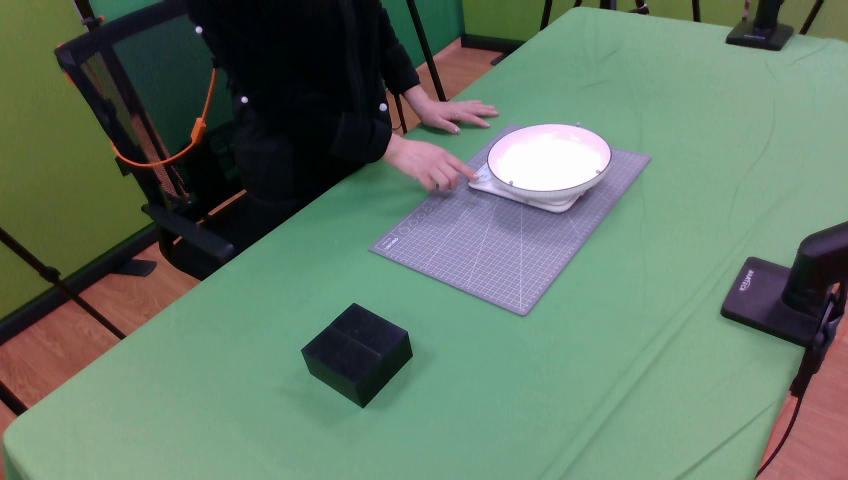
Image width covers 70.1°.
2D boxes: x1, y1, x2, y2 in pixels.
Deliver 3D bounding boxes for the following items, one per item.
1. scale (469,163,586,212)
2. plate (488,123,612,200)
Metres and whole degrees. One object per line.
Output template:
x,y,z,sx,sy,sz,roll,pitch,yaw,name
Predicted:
0.194,-0.117,1.075,0.199,0.032,0.149,21,48,32,scale
0.214,-0.132,1.037,0.209,0.038,0.208,-6,41,5,plate
